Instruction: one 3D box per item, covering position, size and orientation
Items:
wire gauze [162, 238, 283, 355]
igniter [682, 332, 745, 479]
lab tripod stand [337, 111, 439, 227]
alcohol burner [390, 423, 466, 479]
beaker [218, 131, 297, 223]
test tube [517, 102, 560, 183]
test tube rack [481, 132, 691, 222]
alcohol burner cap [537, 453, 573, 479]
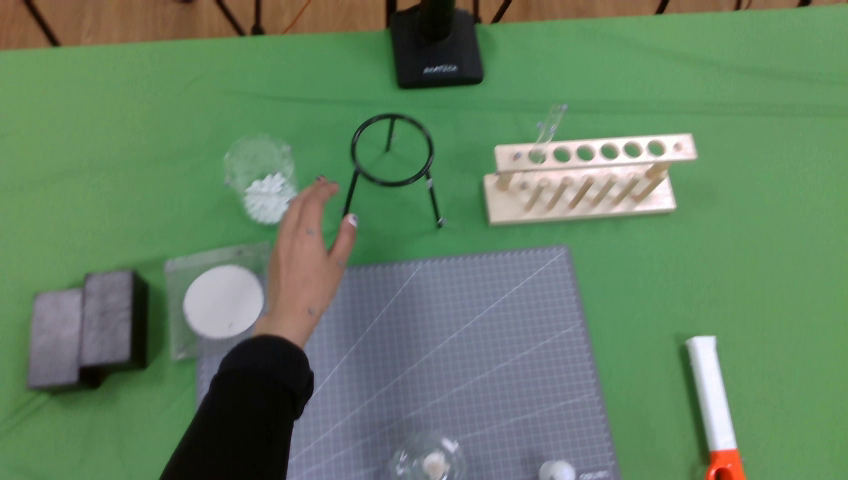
[{"bbox_3d":[-0.233,0.063,0.697,0.125,0.011,0.120,-11,70,-8],"label":"wire gauze"},{"bbox_3d":[0.333,0.239,0.677,0.057,0.025,0.274,2,69,-15],"label":"igniter"},{"bbox_3d":[-0.044,-0.080,0.705,0.148,0.132,0.147,1,68,-3],"label":"lab tripod stand"},{"bbox_3d":[0.006,0.221,0.604,0.078,0.120,0.077,2,67,-5],"label":"alcohol burner"},{"bbox_3d":[-0.186,-0.066,0.705,0.074,0.101,0.083,-36,77,-16],"label":"beaker"},{"bbox_3d":[0.130,-0.108,0.704,0.017,0.151,0.017,2,65,-4],"label":"test tube"},{"bbox_3d":[0.199,-0.077,0.752,0.243,0.085,0.066,-4,70,-7],"label":"test tube rack"},{"bbox_3d":[0.143,0.244,0.647,0.034,0.048,0.033,1,69,-4],"label":"alcohol burner cap"}]
